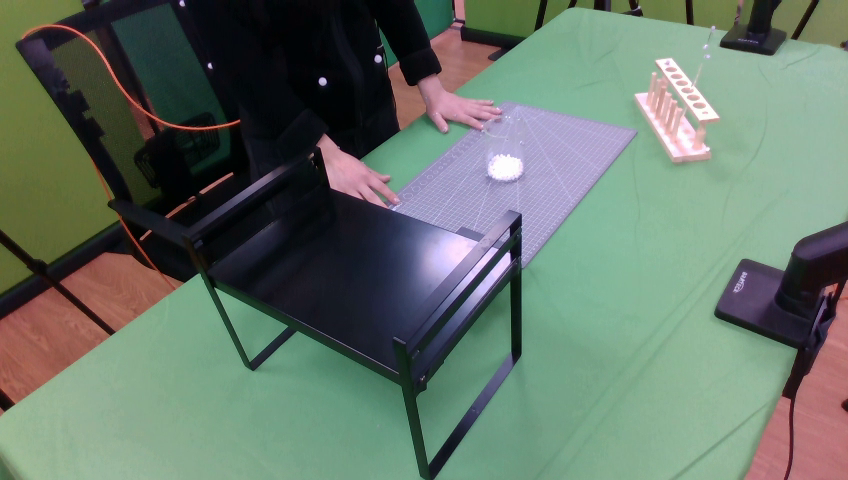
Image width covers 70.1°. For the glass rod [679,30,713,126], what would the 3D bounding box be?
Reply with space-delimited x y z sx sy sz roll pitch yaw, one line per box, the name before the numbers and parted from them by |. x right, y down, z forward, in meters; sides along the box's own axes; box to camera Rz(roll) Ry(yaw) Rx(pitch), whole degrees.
glass rod | 0.485 -0.284 1.084 0.008 0.200 0.008 -1 49 2

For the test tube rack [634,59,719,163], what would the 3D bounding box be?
test tube rack | 0.470 -0.251 1.148 0.067 0.085 0.241 -6 40 3

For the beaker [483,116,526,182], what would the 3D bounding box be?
beaker | 0.147 -0.162 1.079 0.073 0.101 0.084 12 44 22
